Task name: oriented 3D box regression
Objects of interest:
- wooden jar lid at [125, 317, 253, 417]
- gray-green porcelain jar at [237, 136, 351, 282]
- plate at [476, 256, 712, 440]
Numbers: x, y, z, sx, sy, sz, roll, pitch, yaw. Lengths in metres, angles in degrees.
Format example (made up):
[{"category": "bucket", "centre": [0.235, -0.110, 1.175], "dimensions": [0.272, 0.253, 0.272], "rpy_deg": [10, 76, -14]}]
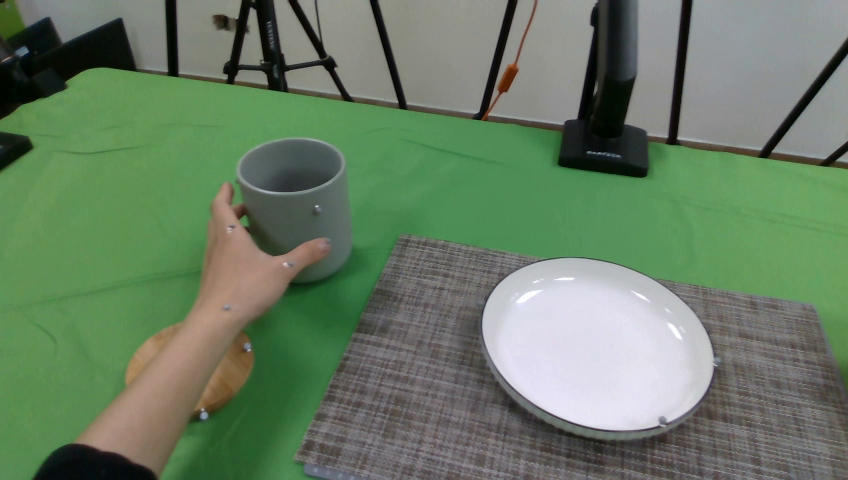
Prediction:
[{"category": "wooden jar lid", "centre": [-0.209, 0.115, 0.546], "dimensions": [0.108, 0.021, 0.107], "rpy_deg": [2, 41, -2]}, {"category": "gray-green porcelain jar", "centre": [-0.131, -0.028, 0.634], "dimensions": [0.106, 0.127, 0.105], "rpy_deg": [1, 40, -1]}, {"category": "plate", "centre": [0.151, 0.097, 0.559], "dimensions": [0.208, 0.039, 0.205], "rpy_deg": [1, 40, -1]}]
